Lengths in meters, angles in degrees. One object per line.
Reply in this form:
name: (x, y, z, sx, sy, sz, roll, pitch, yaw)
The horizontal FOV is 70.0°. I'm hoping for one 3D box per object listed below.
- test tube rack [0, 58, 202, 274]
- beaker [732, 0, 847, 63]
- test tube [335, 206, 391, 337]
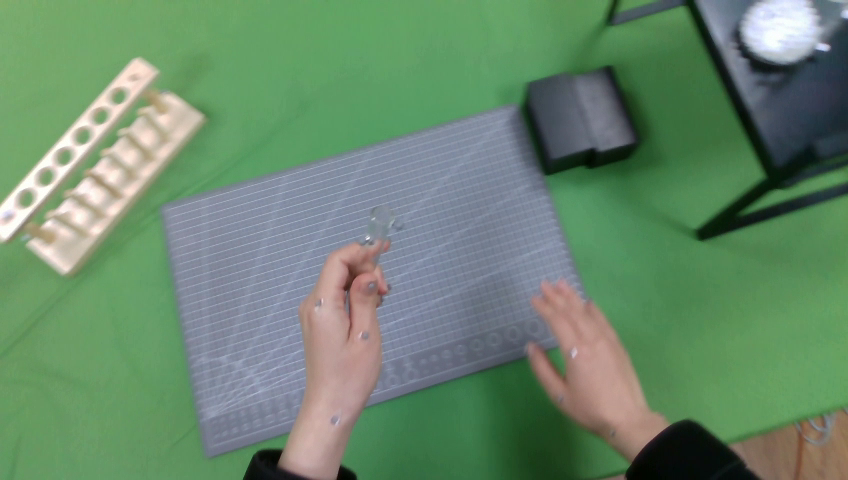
test tube rack: (-0.376, -0.084, 0.702, 0.066, 0.085, 0.242, 34, 79, 11)
beaker: (0.314, -0.204, 0.515, 0.084, 0.101, 0.073, -10, 75, 1)
test tube: (-0.048, 0.029, 0.445, 0.017, 0.151, 0.017, 10, 48, -11)
